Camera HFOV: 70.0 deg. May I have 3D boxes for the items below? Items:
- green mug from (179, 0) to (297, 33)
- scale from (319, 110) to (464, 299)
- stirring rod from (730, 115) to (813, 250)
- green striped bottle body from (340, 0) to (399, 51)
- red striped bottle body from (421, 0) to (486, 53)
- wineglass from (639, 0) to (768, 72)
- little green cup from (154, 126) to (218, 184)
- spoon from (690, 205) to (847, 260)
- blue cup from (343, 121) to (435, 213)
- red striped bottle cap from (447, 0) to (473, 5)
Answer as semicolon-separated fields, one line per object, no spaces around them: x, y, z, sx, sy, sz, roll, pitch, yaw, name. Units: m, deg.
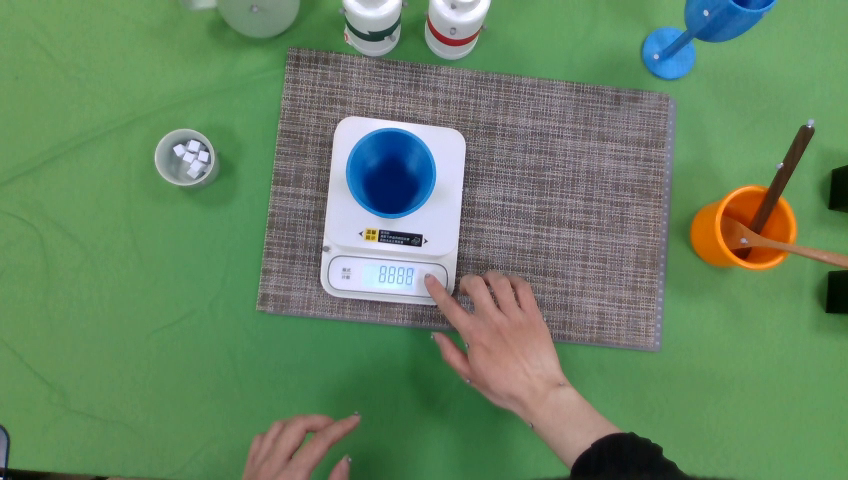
-0.202;-0.275;0.641;0.125;0.105;0.092;-16;87;-5;green mug
-0.034;-0.038;0.669;0.149;0.031;0.200;5;86;-4;scale
0.367;-0.055;0.647;0.014;0.177;0.006;13;44;10;stirring rod
-0.058;-0.254;0.642;0.063;0.119;0.063;0;85;-4;green striped bottle body
0.032;-0.253;0.649;0.063;0.120;0.063;0;85;-4;red striped bottle body
0.294;-0.240;0.642;0.074;0.172;0.073;0;85;-4;wineglass
-0.254;-0.089;0.655;0.061;0.038;0.061;0;85;-6;little green cup
0.381;-0.001;0.644;0.022;0.192;0.041;19;92;-46;spoon
-0.035;-0.065;0.605;0.093;0.100;0.092;0;88;-4;blue cup
0.036;-0.257;0.597;0.044;0.018;0.044;1;84;-7;red striped bottle cap
